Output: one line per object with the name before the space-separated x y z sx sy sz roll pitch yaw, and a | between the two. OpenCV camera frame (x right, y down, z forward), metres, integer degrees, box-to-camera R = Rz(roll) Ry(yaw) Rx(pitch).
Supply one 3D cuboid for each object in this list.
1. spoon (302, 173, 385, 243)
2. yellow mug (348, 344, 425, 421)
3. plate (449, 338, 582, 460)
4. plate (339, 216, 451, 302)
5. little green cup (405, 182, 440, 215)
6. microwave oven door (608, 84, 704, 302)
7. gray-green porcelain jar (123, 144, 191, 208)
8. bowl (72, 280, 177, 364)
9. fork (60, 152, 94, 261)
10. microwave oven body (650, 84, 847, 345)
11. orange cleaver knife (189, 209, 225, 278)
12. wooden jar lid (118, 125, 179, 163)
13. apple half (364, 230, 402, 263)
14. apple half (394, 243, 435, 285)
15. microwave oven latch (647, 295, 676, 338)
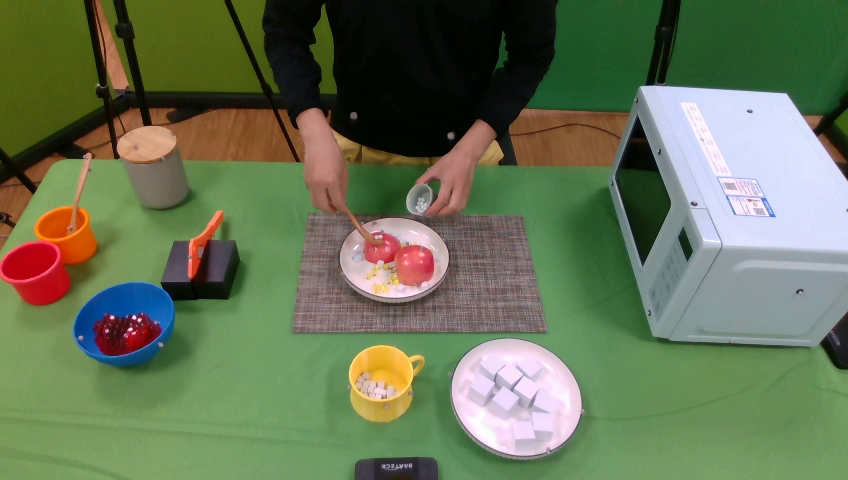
spoon | -0.148 -0.057 1.112 0.194 0.021 0.041 45 10 -7
yellow mug | -0.054 0.217 0.954 0.131 0.064 0.099 -24 53 -25
plate | 0.141 0.251 0.955 0.208 0.039 0.206 2 47 -2
plate | -0.054 0.038 1.138 0.209 0.038 0.208 2 46 -2
little green cup | -0.001 -0.076 1.149 0.061 0.039 0.061 -6 76 26
microwave oven door | 0.424 -0.096 1.138 0.039 0.245 0.353 2 46 -1
gray-green porcelain jar | -0.531 -0.137 1.213 0.106 0.127 0.105 2 47 -2
bowl | -0.472 0.147 0.982 0.151 0.077 0.150 2 46 -2
fork | -0.638 -0.063 1.119 0.028 0.018 0.207 12 90 9
microwave oven body | 0.569 -0.054 1.116 0.326 0.261 0.439 2 46 -1
orange cleaver knife | -0.400 0.002 1.122 0.012 0.077 0.210 4 23 -4
wooden jar lid | -0.528 -0.181 1.167 0.108 0.021 0.107 4 48 -4
apple half | -0.079 0.004 1.159 0.081 0.033 0.081 2 50 -3
apple half | -0.017 0.037 1.120 0.075 0.053 0.080 1 46 -6
microwave oven latch | 0.413 0.133 1.060 0.030 0.029 0.078 4 46 1
